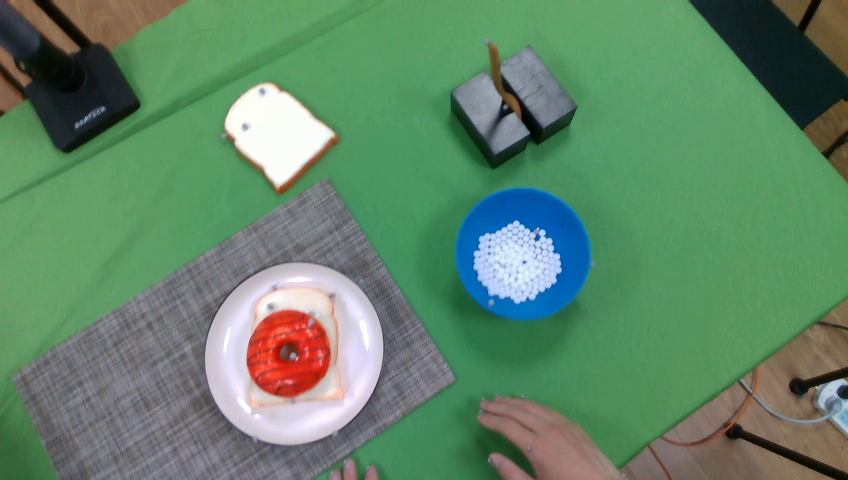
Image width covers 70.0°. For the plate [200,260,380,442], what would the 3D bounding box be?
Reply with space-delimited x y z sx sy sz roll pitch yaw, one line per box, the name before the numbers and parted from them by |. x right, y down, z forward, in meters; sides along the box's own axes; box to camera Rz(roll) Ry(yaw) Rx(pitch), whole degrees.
plate | -0.153 0.127 0.707 0.207 0.039 0.206 0 78 2

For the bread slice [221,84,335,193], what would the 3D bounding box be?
bread slice | -0.198 -0.139 0.782 0.131 0.019 0.105 42 81 9

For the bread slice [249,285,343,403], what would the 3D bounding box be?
bread slice | -0.154 0.120 0.709 0.107 0.018 0.133 -8 78 0

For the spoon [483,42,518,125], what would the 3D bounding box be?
spoon | 0.084 -0.173 0.686 0.021 0.195 0.041 -33 75 10

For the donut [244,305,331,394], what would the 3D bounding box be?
donut | -0.153 0.123 0.680 0.099 0.048 0.098 -1 78 3

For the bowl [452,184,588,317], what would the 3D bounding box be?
bowl | 0.108 0.018 0.703 0.151 0.077 0.150 -1 77 3
